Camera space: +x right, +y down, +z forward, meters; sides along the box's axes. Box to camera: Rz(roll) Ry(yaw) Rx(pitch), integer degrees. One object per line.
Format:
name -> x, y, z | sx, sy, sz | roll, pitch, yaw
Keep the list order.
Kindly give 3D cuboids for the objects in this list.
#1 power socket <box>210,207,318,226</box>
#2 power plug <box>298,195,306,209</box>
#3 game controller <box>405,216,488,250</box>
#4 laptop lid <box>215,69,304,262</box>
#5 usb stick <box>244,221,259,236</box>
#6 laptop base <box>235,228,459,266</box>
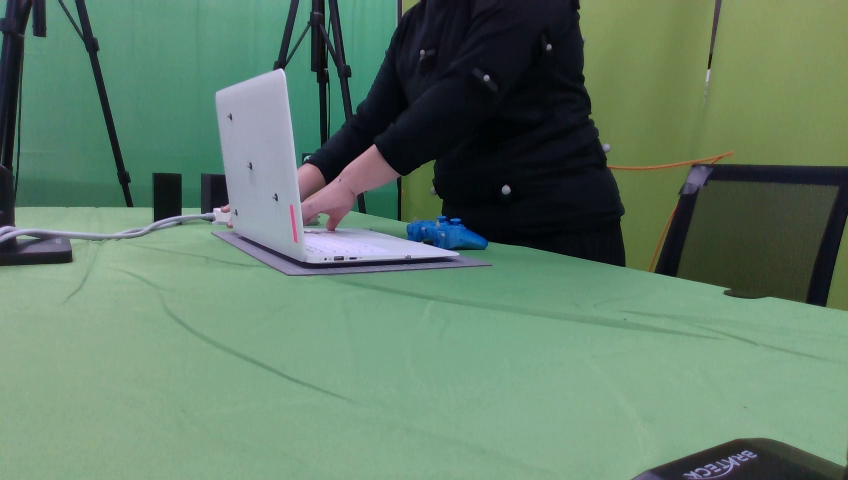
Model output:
power socket -> -0.334, -0.050, 1.280 | 0.228, 0.032, 0.072 | -1, 9, -29
power plug -> -0.283, -0.074, 1.341 | 0.035, 0.052, 0.072 | -1, 3, -18
game controller -> 0.034, -0.013, 1.066 | 0.097, 0.051, 0.154 | -7, 10, -29
laptop lid -> -0.246, -0.107, 0.865 | 0.013, 0.241, 0.355 | -10, 14, -30
usb stick -> -0.307, -0.020, 1.076 | 0.021, 0.027, 0.059 | 3, 1, -23
laptop base -> -0.136, 0.008, 0.950 | 0.237, 0.023, 0.352 | 1, 6, -32
